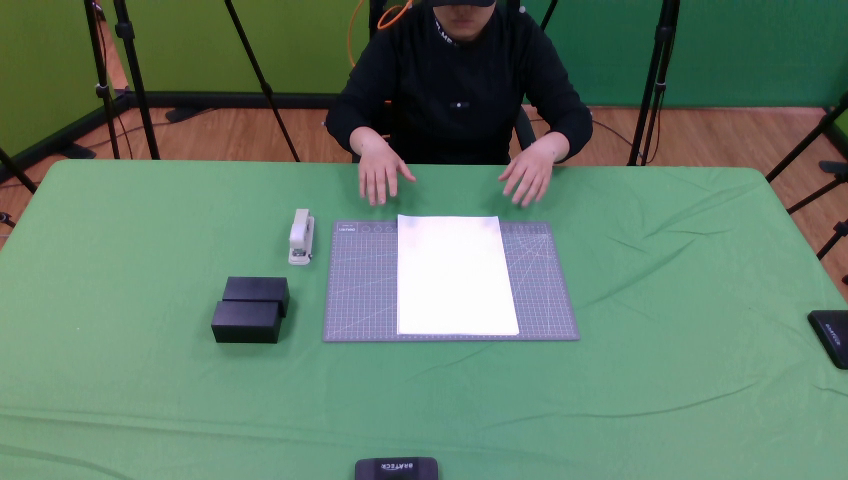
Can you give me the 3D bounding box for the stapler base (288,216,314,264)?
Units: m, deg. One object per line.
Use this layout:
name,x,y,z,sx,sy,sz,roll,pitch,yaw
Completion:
stapler base,-0.241,-0.007,1.184,0.041,0.024,0.129,1,44,-6

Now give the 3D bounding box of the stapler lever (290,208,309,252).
stapler lever,-0.240,-0.026,1.168,0.027,0.040,0.117,1,44,-6
